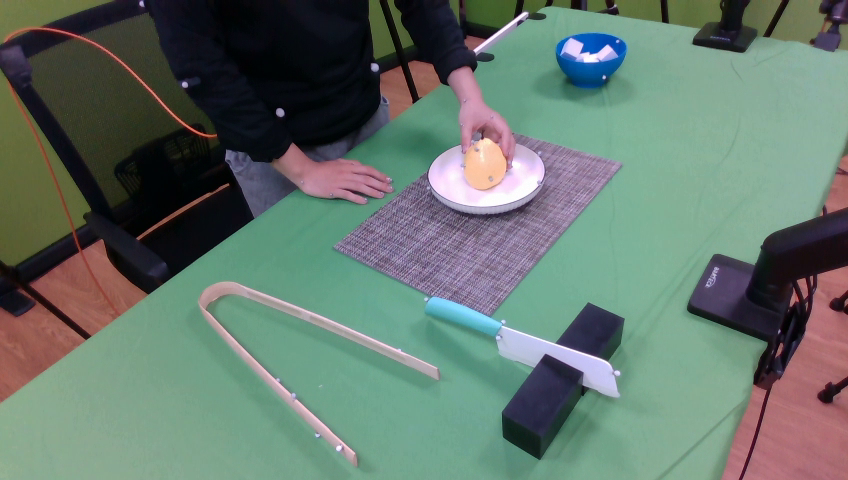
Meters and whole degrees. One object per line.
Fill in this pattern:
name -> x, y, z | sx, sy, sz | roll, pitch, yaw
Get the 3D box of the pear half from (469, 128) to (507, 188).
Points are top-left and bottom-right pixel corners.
pear half -> 0.111, -0.149, 1.038 | 0.076, 0.110, 0.056 | 33, 54, 31

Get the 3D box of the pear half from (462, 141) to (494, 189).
pear half -> 0.086, -0.124, 1.027 | 0.070, 0.088, 0.031 | 32, 51, 31

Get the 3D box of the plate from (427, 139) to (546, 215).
plate -> 0.109, -0.107, 1.058 | 0.207, 0.039, 0.206 | -4, 41, 4

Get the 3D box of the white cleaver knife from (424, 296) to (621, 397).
white cleaver knife -> 0.110, 0.132, 0.761 | 0.284, 0.066, 0.021 | 17, 42, 39

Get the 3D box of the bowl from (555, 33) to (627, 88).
bowl -> 0.360, -0.384, 1.318 | 0.151, 0.077, 0.150 | -4, 41, 4

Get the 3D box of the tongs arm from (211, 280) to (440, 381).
tongs arm -> -0.148, 0.121, 0.845 | 0.385, 0.028, 0.028 | 17, 48, 25

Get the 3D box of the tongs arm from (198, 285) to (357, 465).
tongs arm -> -0.200, 0.162, 0.797 | 0.381, 0.026, 0.051 | 28, 50, 35
